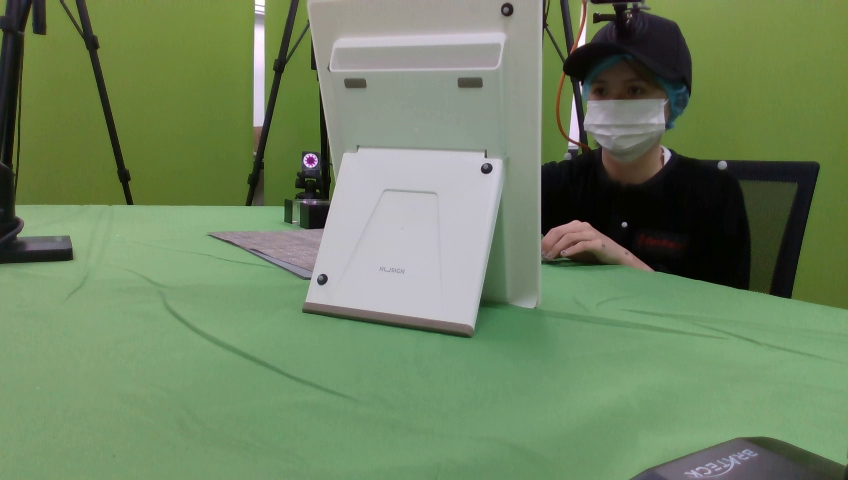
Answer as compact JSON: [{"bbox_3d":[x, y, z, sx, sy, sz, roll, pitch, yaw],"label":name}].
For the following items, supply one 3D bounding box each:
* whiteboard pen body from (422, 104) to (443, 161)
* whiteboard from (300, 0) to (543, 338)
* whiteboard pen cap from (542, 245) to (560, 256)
[{"bbox_3d":[0.009,-0.114,0.638,0.017,0.017,0.140,3,32,3],"label":"whiteboard pen body"},{"bbox_3d":[-0.020,-0.050,0.523,0.216,0.305,0.144,6,27,22],"label":"whiteboard"},{"bbox_3d":[0.186,0.015,0.908,0.033,0.018,0.018,-3,5,23],"label":"whiteboard pen cap"}]
